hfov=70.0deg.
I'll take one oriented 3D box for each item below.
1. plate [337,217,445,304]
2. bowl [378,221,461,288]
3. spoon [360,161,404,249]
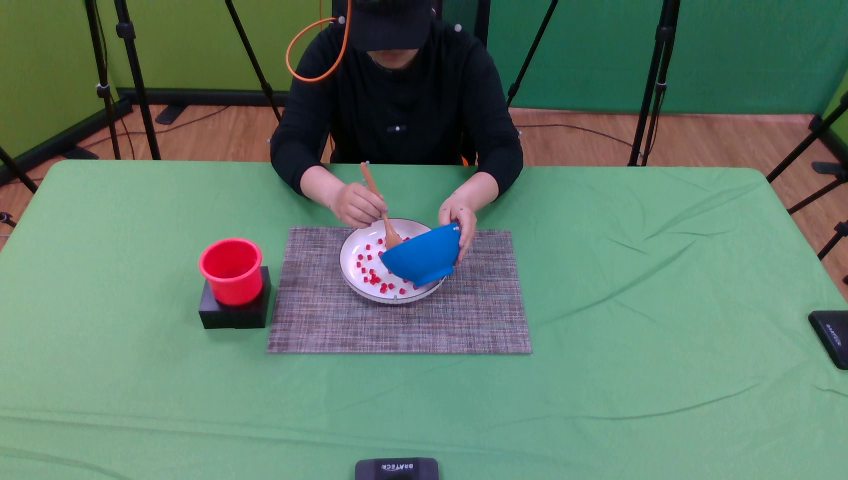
[{"bbox_3d":[-0.058,0.042,1.137,0.208,0.039,0.206,2,46,-2],"label":"plate"},{"bbox_3d":[0.004,0.033,1.052,0.151,0.151,0.076,-21,85,-22],"label":"bowl"},{"bbox_3d":[-0.073,-0.048,1.069,0.041,0.194,0.021,-19,9,22],"label":"spoon"}]
